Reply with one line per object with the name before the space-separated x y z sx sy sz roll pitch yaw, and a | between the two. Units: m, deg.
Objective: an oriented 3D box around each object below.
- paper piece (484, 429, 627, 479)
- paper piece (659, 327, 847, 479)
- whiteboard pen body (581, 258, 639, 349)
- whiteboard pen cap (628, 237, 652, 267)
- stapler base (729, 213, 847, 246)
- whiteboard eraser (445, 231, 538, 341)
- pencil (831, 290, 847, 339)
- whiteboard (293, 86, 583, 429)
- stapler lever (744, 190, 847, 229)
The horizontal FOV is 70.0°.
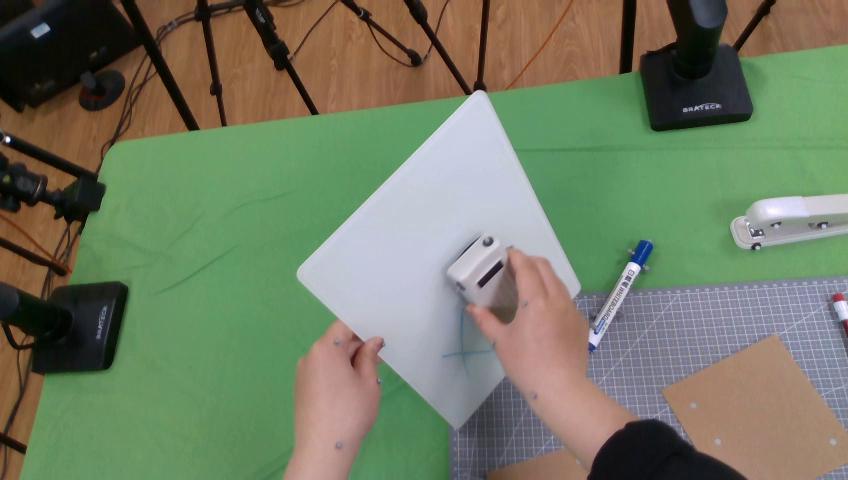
paper piece | 0.143 0.273 0.601 0.135 0.004 0.134 -19 62 4
paper piece | 0.331 0.176 0.605 0.136 0.009 0.137 -27 64 4
whiteboard pen body | 0.215 0.060 0.682 0.017 0.017 0.140 27 72 23
whiteboard pen cap | 0.248 0.014 0.695 0.018 0.018 0.033 25 71 23
stapler base | 0.413 -0.024 0.675 0.130 0.024 0.041 -10 66 6
whiteboard eraser | 0.064 0.045 0.577 0.055 0.114 0.041 -42 41 -7
pencil | 0.437 0.140 0.596 0.012 0.012 0.192 -8 66 9
whiteboard | 0.004 0.014 0.627 0.217 0.309 0.142 -45 43 -9
stapler lever | 0.410 -0.035 0.654 0.118 0.040 0.026 -10 66 8
